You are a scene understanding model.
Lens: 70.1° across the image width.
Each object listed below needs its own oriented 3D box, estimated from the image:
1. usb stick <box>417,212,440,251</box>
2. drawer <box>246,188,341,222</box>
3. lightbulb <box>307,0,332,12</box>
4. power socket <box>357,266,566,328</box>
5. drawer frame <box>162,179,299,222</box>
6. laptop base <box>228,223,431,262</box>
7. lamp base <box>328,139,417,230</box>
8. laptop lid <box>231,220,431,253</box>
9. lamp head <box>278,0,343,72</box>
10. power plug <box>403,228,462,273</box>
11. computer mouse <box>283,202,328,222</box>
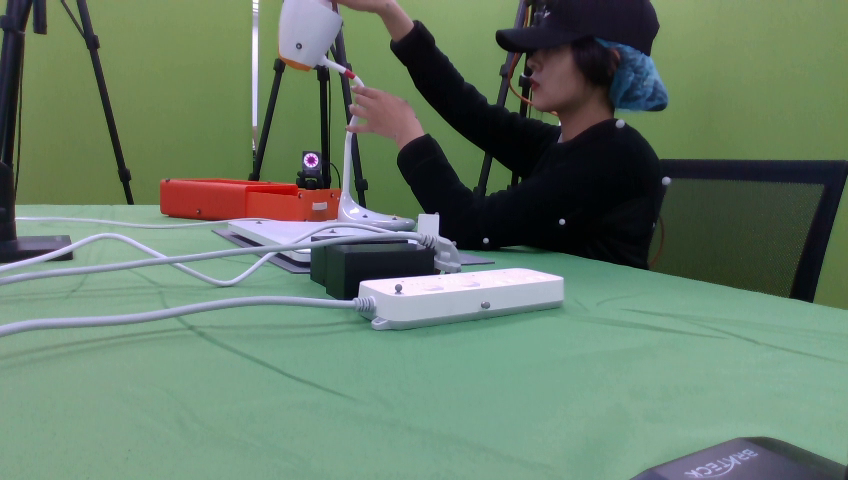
[{"bbox_3d":[0.005,-0.003,0.721,0.027,0.059,0.021,0,-3,-3],"label":"usb stick"},{"bbox_3d":[-0.312,-0.078,1.296,0.211,0.073,0.195,4,9,17],"label":"drawer"},{"bbox_3d":[-0.209,-0.405,1.116,0.059,0.107,0.059,24,14,-6],"label":"lightbulb"},{"bbox_3d":[0.042,0.049,0.573,0.228,0.032,0.072,-3,8,-34],"label":"power socket"},{"bbox_3d":[-0.418,-0.089,1.329,0.213,0.082,0.202,4,8,18],"label":"drawer frame"},{"bbox_3d":[-0.145,0.002,0.943,0.237,0.023,0.352,2,6,-32],"label":"laptop base"},{"bbox_3d":[-0.104,-0.113,1.213,0.180,0.180,0.160,-2,7,-15],"label":"lamp base"},{"bbox_3d":[-0.142,-0.009,0.942,0.243,0.013,0.355,1,7,-31],"label":"laptop lid"},{"bbox_3d":[-0.219,-0.376,1.125,0.112,0.123,0.112,17,10,-3],"label":"lamp head"},{"bbox_3d":[0.006,0.016,0.647,0.073,0.052,0.035,17,12,-5],"label":"power plug"},{"bbox_3d":[-0.251,-0.060,1.287,0.063,0.041,0.117,3,4,11],"label":"computer mouse"}]
